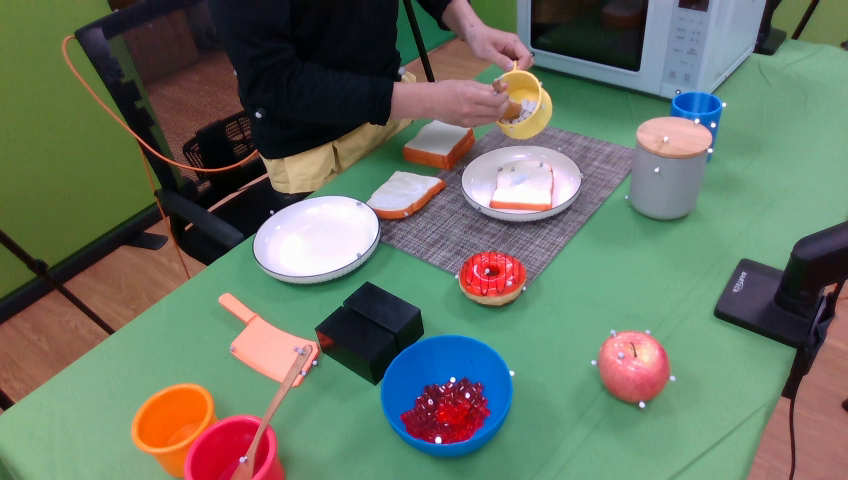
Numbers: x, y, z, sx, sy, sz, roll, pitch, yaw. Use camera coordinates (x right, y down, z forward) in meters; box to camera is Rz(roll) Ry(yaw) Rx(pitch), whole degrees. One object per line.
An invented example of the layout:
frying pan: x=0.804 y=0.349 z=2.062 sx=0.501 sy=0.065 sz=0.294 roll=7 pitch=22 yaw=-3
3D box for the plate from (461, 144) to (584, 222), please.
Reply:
plate: x=0.168 y=-0.095 z=1.040 sx=0.207 sy=0.039 sz=0.206 roll=-4 pitch=40 yaw=4

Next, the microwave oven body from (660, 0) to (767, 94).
microwave oven body: x=0.473 y=-0.516 z=1.313 sx=0.438 sy=0.261 sz=0.327 roll=26 pitch=51 yaw=34

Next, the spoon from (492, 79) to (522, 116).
spoon: x=0.128 y=-0.228 z=0.969 sx=0.041 sy=0.195 sz=0.021 roll=-25 pitch=79 yaw=14

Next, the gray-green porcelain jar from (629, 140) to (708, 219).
gray-green porcelain jar: x=0.383 y=-0.105 z=0.958 sx=0.106 sy=0.127 sz=0.105 roll=-4 pitch=41 yaw=4

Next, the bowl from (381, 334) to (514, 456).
bowl: x=0.029 y=0.192 z=0.701 sx=0.151 sy=0.077 sz=0.150 roll=-4 pitch=40 yaw=4

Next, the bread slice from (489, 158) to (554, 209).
bread slice: x=0.173 y=-0.100 z=1.046 sx=0.104 sy=0.019 sz=0.131 roll=3 pitch=42 yaw=12

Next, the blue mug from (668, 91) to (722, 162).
blue mug: x=0.474 y=-0.207 z=1.079 sx=0.082 sy=0.106 sz=0.116 roll=4 pitch=42 yaw=13

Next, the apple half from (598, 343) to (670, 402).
apple half: x=0.247 y=0.161 z=0.710 sx=0.081 sy=0.075 sz=0.053 roll=2 pitch=47 yaw=5

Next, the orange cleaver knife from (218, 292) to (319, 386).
orange cleaver knife: x=-0.235 y=0.136 z=0.850 sx=0.209 sy=0.012 sz=0.077 roll=25 pitch=56 yaw=30

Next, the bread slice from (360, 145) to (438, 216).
bread slice: x=-0.053 y=-0.103 z=1.046 sx=0.106 sy=0.018 sz=0.134 roll=18 pitch=67 yaw=23

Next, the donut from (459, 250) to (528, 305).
donut: x=0.100 y=0.053 z=0.873 sx=0.099 sy=0.048 sz=0.098 roll=-5 pitch=40 yaw=4

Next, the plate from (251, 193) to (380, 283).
plate: x=-0.173 y=-0.001 z=0.985 sx=0.209 sy=0.038 sz=0.208 roll=-4 pitch=41 yaw=4

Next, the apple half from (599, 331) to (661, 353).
apple half: x=0.249 y=0.134 z=0.738 sx=0.081 sy=0.081 sz=0.032 roll=-1 pitch=46 yaw=7

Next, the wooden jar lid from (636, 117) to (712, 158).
wooden jar lid: x=0.377 y=-0.151 z=0.917 sx=0.108 sy=0.021 sz=0.108 roll=-2 pitch=41 yaw=3

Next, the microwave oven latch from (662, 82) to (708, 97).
microwave oven latch: x=0.518 y=-0.298 z=1.203 sx=0.078 sy=0.029 sz=0.030 roll=28 pitch=53 yaw=35

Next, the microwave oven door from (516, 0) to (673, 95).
microwave oven door: x=0.344 y=-0.458 z=1.257 sx=0.353 sy=0.245 sz=0.039 roll=26 pitch=52 yaw=33

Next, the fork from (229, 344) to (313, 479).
fork: x=-0.173 y=0.205 z=0.662 sx=0.028 sy=0.019 sz=0.207 roll=29 pitch=94 yaw=36

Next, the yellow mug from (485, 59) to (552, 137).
yellow mug: x=0.163 y=-0.250 z=1.043 sx=0.099 sy=0.064 sz=0.130 roll=-6 pitch=77 yaw=26
